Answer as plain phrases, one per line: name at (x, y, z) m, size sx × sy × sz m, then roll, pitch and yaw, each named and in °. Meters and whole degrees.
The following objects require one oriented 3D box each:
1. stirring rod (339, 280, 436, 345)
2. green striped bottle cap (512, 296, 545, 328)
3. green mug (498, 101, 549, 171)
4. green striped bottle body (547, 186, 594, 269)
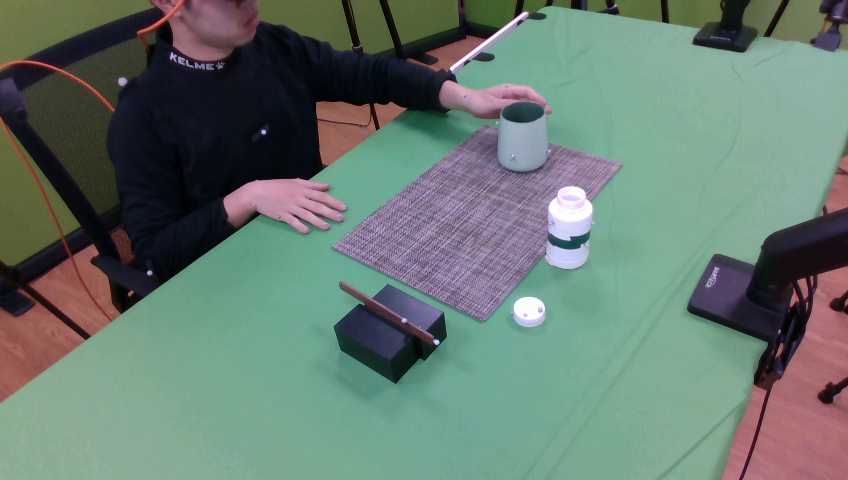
stirring rod at (-0.052, 0.093, 0.795) m, size 0.174 × 0.014 × 0.006 m, roll 27°, pitch 47°, yaw 33°
green striped bottle cap at (0.144, 0.099, 0.837) m, size 0.044 × 0.020 × 0.044 m, roll -2°, pitch 44°, yaw 2°
green mug at (0.182, -0.197, 1.101) m, size 0.092 × 0.105 × 0.125 m, roll 3°, pitch 42°, yaw 12°
green striped bottle body at (0.214, -0.020, 0.886) m, size 0.063 × 0.120 × 0.063 m, roll -4°, pitch 41°, yaw 4°
